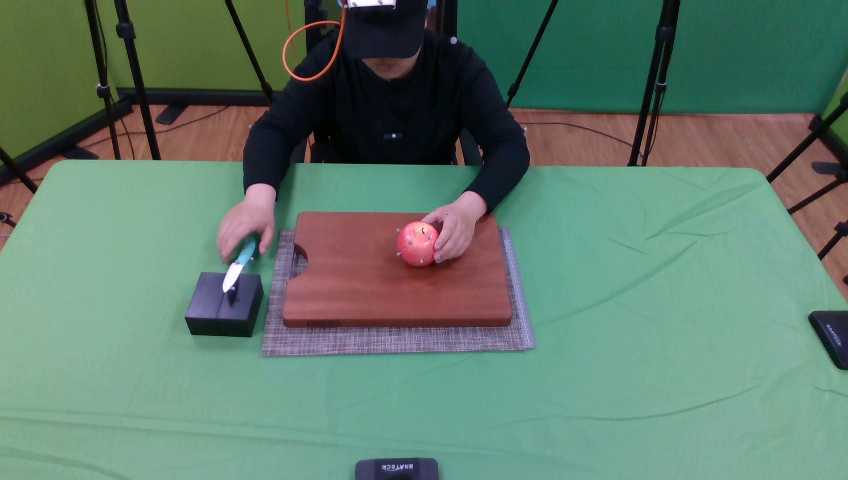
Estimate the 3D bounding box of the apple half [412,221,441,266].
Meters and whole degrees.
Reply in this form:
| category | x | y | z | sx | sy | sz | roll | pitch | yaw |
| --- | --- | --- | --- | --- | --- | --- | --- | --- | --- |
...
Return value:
| category | x | y | z | sx | sy | sz | roll | pitch | yaw |
| --- | --- | --- | --- | --- | --- | --- | --- | --- | --- |
| apple half | 0.004 | 0.008 | 1.117 | 0.053 | 0.075 | 0.080 | -3 | 42 | -12 |

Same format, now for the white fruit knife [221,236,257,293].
| category | x | y | z | sx | sy | sz | roll | pitch | yaw |
| --- | --- | --- | --- | --- | --- | --- | --- | --- | --- |
| white fruit knife | -0.333 | 0.043 | 1.094 | 0.027 | 0.016 | 0.206 | 1 | 27 | -2 |

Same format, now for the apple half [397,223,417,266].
| category | x | y | z | sx | sy | sz | roll | pitch | yaw |
| --- | --- | --- | --- | --- | --- | --- | --- | --- | --- |
| apple half | -0.034 | 0.011 | 1.109 | 0.033 | 0.081 | 0.080 | -3 | 46 | -13 |
